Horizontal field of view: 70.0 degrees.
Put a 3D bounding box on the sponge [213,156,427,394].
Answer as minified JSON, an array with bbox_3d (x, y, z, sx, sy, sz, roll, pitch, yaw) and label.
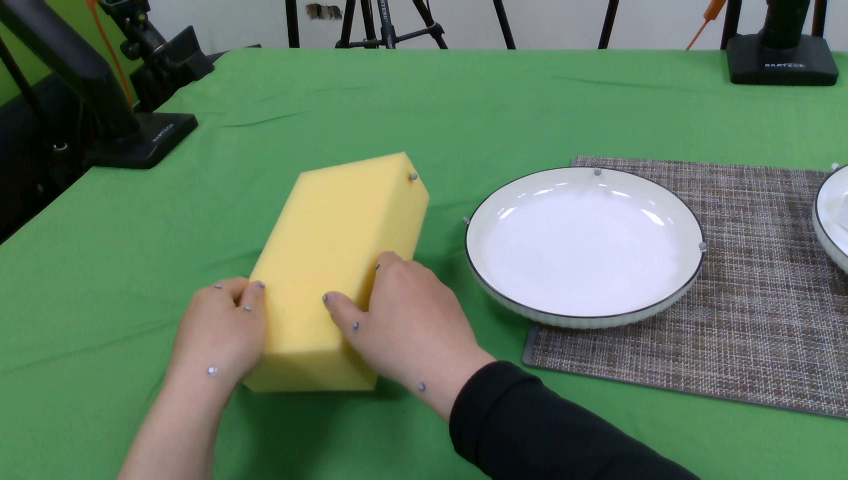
[{"bbox_3d":[-0.081,0.027,0.526,0.118,0.061,0.205,-5,49,26],"label":"sponge"}]

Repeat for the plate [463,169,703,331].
[{"bbox_3d":[0.141,0.008,0.556,0.209,0.038,0.207,-5,40,5],"label":"plate"}]

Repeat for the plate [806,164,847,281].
[{"bbox_3d":[0.435,0.002,0.506,0.207,0.039,0.205,-5,41,5],"label":"plate"}]
